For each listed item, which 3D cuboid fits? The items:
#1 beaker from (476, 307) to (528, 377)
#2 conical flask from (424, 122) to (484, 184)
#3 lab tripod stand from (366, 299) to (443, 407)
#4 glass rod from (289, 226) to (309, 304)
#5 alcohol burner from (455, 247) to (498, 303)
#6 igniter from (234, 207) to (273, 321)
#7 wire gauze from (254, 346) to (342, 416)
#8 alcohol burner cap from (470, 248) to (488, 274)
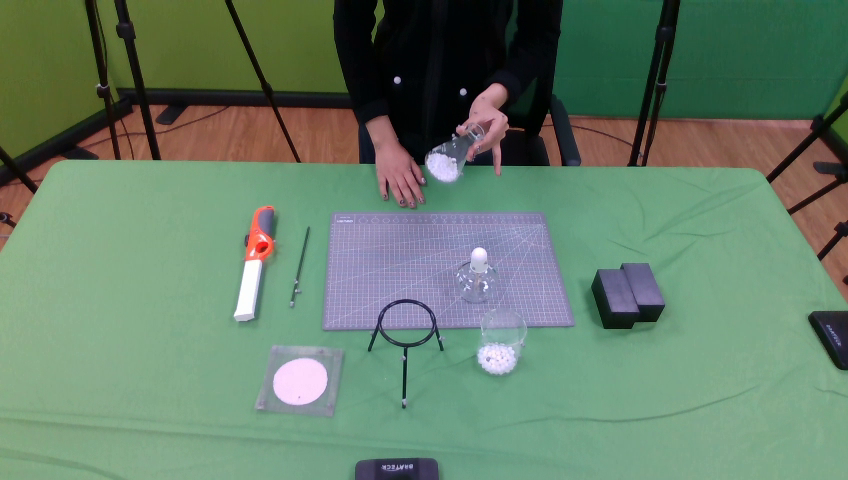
[{"bbox_3d":[0.122,0.171,0.991,0.084,0.101,0.073,-34,56,-30],"label":"beaker"},{"bbox_3d":[0.060,-0.164,1.110,0.075,0.122,0.075,20,50,-26],"label":"conical flask"},{"bbox_3d":[-0.028,0.165,0.961,0.148,0.132,0.147,3,44,-2],"label":"lab tripod stand"},{"bbox_3d":[-0.236,0.043,1.150,0.008,0.008,0.198,3,46,-1],"label":"glass rod"},{"bbox_3d":[0.095,0.057,1.085,0.078,0.120,0.077,1,47,-1],"label":"alcohol burner"},{"bbox_3d":[-0.319,0.035,1.137,0.057,0.025,0.274,-7,46,3],"label":"igniter"},{"bbox_3d":[-0.201,0.223,0.978,0.125,0.011,0.121,4,45,1],"label":"wire gauze"},{"bbox_3d":[0.095,0.034,1.057,0.034,0.048,0.033,-3,52,4],"label":"alcohol burner cap"}]
